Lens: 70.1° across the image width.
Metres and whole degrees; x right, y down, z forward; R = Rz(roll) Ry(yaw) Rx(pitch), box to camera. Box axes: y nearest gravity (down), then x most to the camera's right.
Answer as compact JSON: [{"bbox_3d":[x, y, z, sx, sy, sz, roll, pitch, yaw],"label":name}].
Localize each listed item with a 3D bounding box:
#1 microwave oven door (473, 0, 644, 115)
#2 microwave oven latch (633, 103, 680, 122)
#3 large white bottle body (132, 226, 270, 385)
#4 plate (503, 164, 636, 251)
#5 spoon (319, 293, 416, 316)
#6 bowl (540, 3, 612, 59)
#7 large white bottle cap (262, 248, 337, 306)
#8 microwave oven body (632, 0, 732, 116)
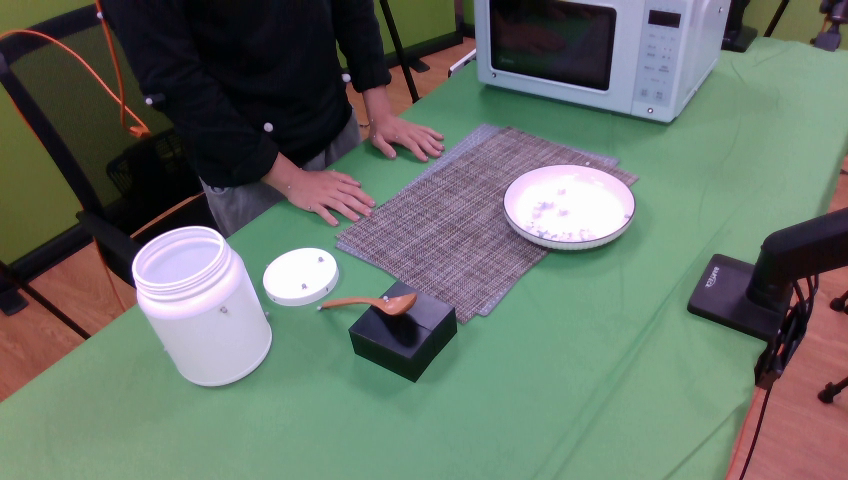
[{"bbox_3d":[0.257,-0.396,1.199,0.353,0.245,0.039,21,48,29],"label":"microwave oven door"},{"bbox_3d":[0.444,-0.249,1.157,0.078,0.029,0.030,21,48,30],"label":"microwave oven latch"},{"bbox_3d":[-0.286,0.085,0.784,0.130,0.185,0.130,-4,41,4],"label":"large white bottle body"},{"bbox_3d":[0.232,-0.051,0.976,0.209,0.038,0.208,-3,41,3],"label":"plate"},{"bbox_3d":[-0.082,0.086,0.826,0.192,0.022,0.041,-3,37,41],"label":"spoon"},{"bbox_3d":[0.323,-0.441,1.298,0.151,0.077,0.150,-4,41,4],"label":"bowl"},{"bbox_3d":[-0.192,0.056,0.934,0.115,0.018,0.114,-4,41,4],"label":"large white bottle cap"},{"bbox_3d":[0.377,-0.462,1.267,0.438,0.261,0.327,21,48,30],"label":"microwave oven body"}]
